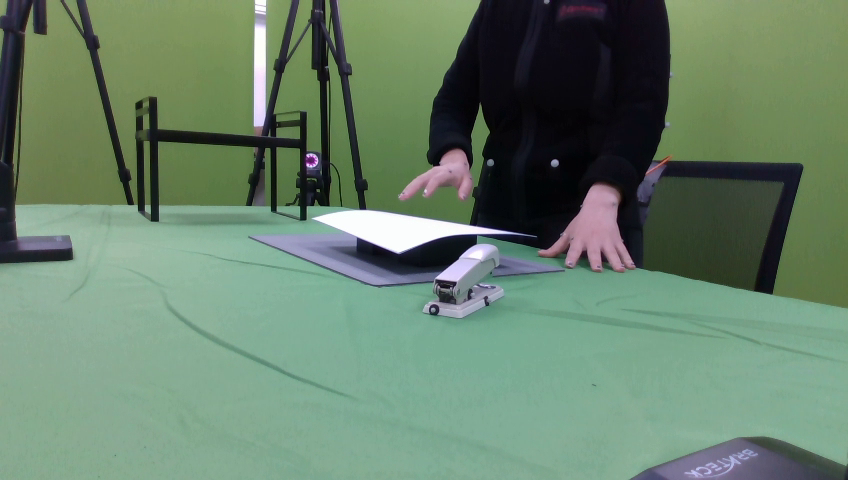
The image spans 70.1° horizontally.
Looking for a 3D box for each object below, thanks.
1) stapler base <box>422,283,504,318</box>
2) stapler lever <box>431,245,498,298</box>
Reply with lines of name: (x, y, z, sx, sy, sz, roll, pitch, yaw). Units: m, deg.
stapler base: (0.043, 0.053, 0.606, 0.041, 0.024, 0.131, 3, 8, 26)
stapler lever: (0.044, 0.029, 0.602, 0.026, 0.040, 0.118, 3, 7, 26)
